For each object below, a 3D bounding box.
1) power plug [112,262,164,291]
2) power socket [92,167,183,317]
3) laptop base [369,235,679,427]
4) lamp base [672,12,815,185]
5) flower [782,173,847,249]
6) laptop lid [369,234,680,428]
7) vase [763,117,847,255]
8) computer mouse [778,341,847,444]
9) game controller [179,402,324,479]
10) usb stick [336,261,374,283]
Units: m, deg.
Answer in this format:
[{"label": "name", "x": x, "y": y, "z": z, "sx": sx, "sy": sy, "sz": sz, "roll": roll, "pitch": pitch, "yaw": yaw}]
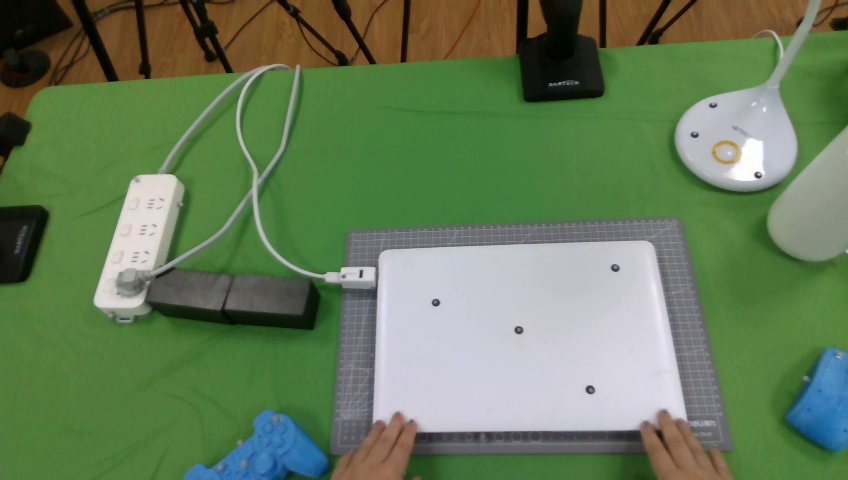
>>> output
[{"label": "power plug", "x": -0.367, "y": 0.052, "z": 0.782, "sx": 0.072, "sy": 0.053, "sz": 0.035, "roll": 10, "pitch": 63, "yaw": 8}, {"label": "power socket", "x": -0.391, "y": -0.005, "z": 0.836, "sx": 0.072, "sy": 0.033, "sz": 0.225, "roll": 1, "pitch": 62, "yaw": 4}, {"label": "laptop base", "x": 0.112, "y": 0.106, "z": 0.741, "sx": 0.354, "sy": 0.023, "sz": 0.233, "roll": -2, "pitch": 67, "yaw": 4}, {"label": "lamp base", "x": 0.427, "y": -0.190, "z": 0.777, "sx": 0.159, "sy": 0.182, "sz": 0.178, "roll": 29, "pitch": 66, "yaw": 19}, {"label": "flower", "x": 0.480, "y": -0.110, "z": 0.626, "sx": 0.038, "sy": 0.364, "sz": 0.043, "roll": -7, "pitch": 51, "yaw": -17}, {"label": "laptop lid", "x": 0.111, "y": 0.104, "z": 0.730, "sx": 0.356, "sy": 0.013, "sz": 0.239, "roll": -1, "pitch": 65, "yaw": 5}, {"label": "vase", "x": 0.471, "y": -0.063, "z": 0.696, "sx": 0.098, "sy": 0.202, "sz": 0.097, "roll": -3, "pitch": 61, "yaw": 6}, {"label": "computer mouse", "x": 0.448, "y": 0.165, "z": 0.670, "sx": 0.062, "sy": 0.041, "sz": 0.117, "roll": 37, "pitch": 67, "yaw": 24}, {"label": "game controller", "x": -0.199, "y": 0.254, "z": 0.677, "sx": 0.155, "sy": 0.052, "sz": 0.096, "roll": -37, "pitch": 63, "yaw": -14}, {"label": "usb stick", "x": -0.081, "y": 0.042, "z": 0.778, "sx": 0.059, "sy": 0.027, "sz": 0.021, "roll": 2, "pitch": 59, "yaw": 1}]
